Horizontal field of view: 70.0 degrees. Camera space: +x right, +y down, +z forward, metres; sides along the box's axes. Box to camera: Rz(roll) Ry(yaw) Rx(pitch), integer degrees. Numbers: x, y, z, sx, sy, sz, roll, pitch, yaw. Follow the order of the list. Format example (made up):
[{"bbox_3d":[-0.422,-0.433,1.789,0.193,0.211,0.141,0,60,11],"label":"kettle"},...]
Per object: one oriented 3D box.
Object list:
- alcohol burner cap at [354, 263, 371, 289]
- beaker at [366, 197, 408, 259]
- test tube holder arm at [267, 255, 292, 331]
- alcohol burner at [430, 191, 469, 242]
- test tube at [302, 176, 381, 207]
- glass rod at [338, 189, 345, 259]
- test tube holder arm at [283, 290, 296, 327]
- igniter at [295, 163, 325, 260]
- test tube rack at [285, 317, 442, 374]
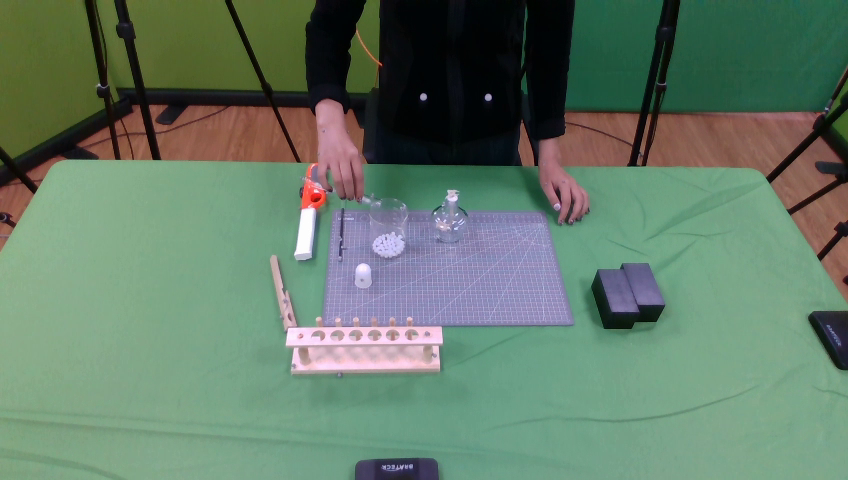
[{"bbox_3d":[-0.113,0.063,1.111,0.034,0.048,0.033,2,45,-2],"label":"alcohol burner cap"},{"bbox_3d":[-0.068,-0.018,1.153,0.074,0.101,0.083,-26,54,-25],"label":"beaker"},{"bbox_3d":[-0.261,0.091,1.092,0.013,0.015,0.177,15,34,-40],"label":"test tube holder arm"},{"bbox_3d":[0.051,-0.053,1.185,0.078,0.119,0.077,2,48,-2],"label":"alcohol burner"},{"bbox_3d":[-0.151,-0.089,1.108,0.150,0.017,0.017,18,47,-3],"label":"test tube"},{"bbox_3d":[-0.166,-0.037,1.227,0.008,0.008,0.198,0,47,-4],"label":"glass rod"},{"bbox_3d":[-0.241,0.123,1.067,0.010,0.015,0.087,16,34,-39],"label":"test tube holder arm"},{"bbox_3d":[-0.233,-0.067,1.243,0.057,0.025,0.274,-7,46,4],"label":"igniter"},{"bbox_3d":[-0.095,0.166,0.988,0.242,0.085,0.066,0,46,-4],"label":"test tube rack"}]
